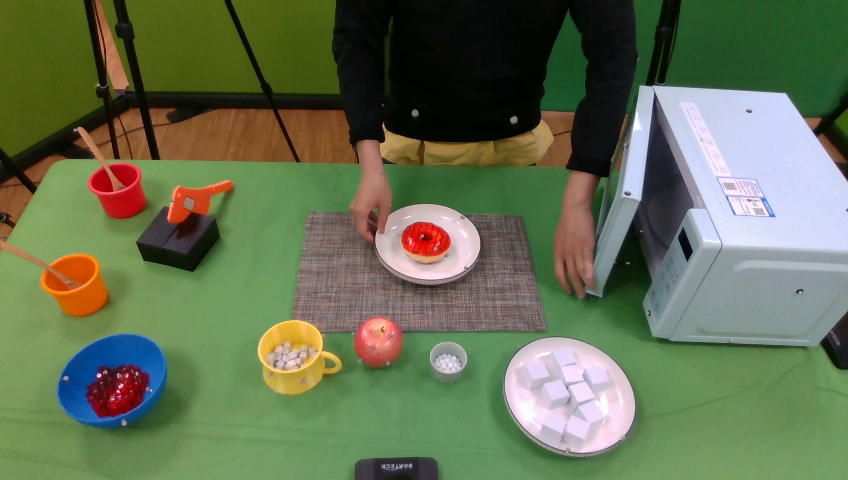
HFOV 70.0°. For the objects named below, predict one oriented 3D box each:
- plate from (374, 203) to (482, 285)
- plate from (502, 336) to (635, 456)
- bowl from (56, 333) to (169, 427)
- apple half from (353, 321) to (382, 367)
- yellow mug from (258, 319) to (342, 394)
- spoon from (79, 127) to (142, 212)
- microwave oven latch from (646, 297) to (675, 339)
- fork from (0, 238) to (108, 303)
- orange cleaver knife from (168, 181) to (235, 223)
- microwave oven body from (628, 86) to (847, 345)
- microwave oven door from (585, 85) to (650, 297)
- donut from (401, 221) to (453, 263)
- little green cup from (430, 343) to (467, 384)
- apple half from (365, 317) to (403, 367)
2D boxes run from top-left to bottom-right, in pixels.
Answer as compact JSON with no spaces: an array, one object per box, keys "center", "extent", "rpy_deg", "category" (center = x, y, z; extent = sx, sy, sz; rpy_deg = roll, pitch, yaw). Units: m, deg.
[{"center":[0.007,0.011,1.172],"extent":[0.209,0.038,0.208],"rpy_deg":[2,46,-2],"category":"plate"},{"center":[0.225,0.248,0.963],"extent":[0.208,0.039,0.206],"rpy_deg":[2,46,-2],"category":"plate"},{"center":[-0.456,0.223,0.912],"extent":[0.151,0.077,0.150],"rpy_deg":[3,46,-2],"category":"bowl"},{"center":[-0.098,0.177,0.984],"extent":[0.033,0.081,0.081],"rpy_deg":[-17,49,-25],"category":"apple half"},{"center":[-0.195,0.188,0.972],"extent":[0.131,0.064,0.099],"rpy_deg":[9,47,4],"category":"yellow mug"},{"center":[-0.624,-0.140,1.203],"extent":[0.041,0.021,0.194],"rpy_deg":[-33,100,-26],"category":"spoon"},{"center":[0.412,0.134,1.061],"extent":[0.030,0.029,0.078],"rpy_deg":[4,45,1],"category":"microwave oven latch"},{"center":[-0.633,0.048,1.017],"extent":[0.208,0.018,0.028],"rpy_deg":[40,41,-27],"category":"fork"},{"center":[-0.436,-0.078,1.196],"extent":[0.012,0.077,0.211],"rpy_deg":[16,15,10],"category":"orange cleaver knife"},{"center":[0.567,-0.053,1.118],"extent":[0.326,0.261,0.439],"rpy_deg":[2,45,-1],"category":"microwave oven body"},{"center":[0.371,-0.102,1.145],"extent":[0.039,0.245,0.354],"rpy_deg":[15,47,11],"category":"microwave oven door"},{"center":[0.005,0.003,1.163],"extent":[0.099,0.048,0.098],"rpy_deg":[2,44,-2],"category":"donut"},{"center":[0.039,0.203,0.994],"extent":[0.061,0.039,0.061],"rpy_deg":[2,46,-2],"category":"little green cup"},{"center":[-0.063,0.165,1.000],"extent":[0.053,0.075,0.080],"rpy_deg":[-16,45,-24],"category":"apple half"}]
